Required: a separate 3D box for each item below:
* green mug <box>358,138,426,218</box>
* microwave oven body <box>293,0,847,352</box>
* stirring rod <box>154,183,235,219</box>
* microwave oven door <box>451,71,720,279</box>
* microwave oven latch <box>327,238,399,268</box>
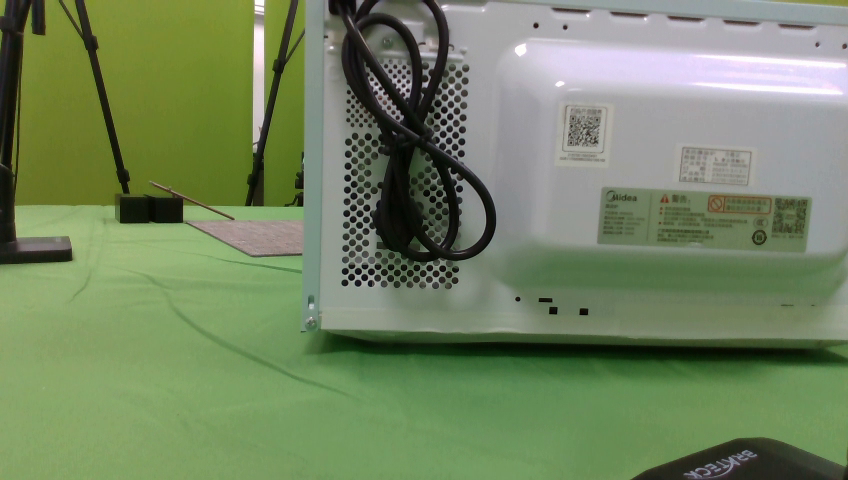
[{"bbox_3d":[-0.047,-0.086,0.839,0.093,0.105,0.125,0,7,-16],"label":"green mug"},{"bbox_3d":[0.122,-0.055,0.550,0.442,0.260,0.325,3,7,-5],"label":"microwave oven body"},{"bbox_3d":[-0.472,-0.079,1.252,0.177,0.006,0.014,27,4,-35],"label":"stirring rod"},{"bbox_3d":[0.193,-0.091,0.811,0.354,0.243,0.039,7,8,37],"label":"microwave oven door"},{"bbox_3d":[-0.069,0.015,0.694,0.079,0.029,0.030,3,7,-3],"label":"microwave oven latch"}]
